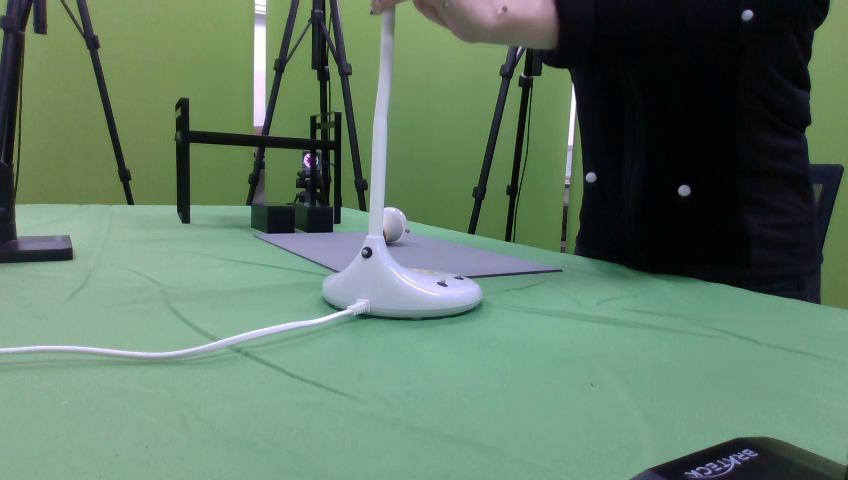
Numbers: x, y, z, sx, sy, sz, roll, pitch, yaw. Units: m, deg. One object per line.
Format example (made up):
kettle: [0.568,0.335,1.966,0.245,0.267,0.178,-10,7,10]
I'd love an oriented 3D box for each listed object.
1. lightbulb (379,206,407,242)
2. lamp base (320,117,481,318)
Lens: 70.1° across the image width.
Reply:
lightbulb: [-0.067,-0.019,1.000,0.059,0.059,0.108,5,24,20]
lamp base: [-0.024,-0.025,0.580,0.160,0.180,0.179,4,10,16]
